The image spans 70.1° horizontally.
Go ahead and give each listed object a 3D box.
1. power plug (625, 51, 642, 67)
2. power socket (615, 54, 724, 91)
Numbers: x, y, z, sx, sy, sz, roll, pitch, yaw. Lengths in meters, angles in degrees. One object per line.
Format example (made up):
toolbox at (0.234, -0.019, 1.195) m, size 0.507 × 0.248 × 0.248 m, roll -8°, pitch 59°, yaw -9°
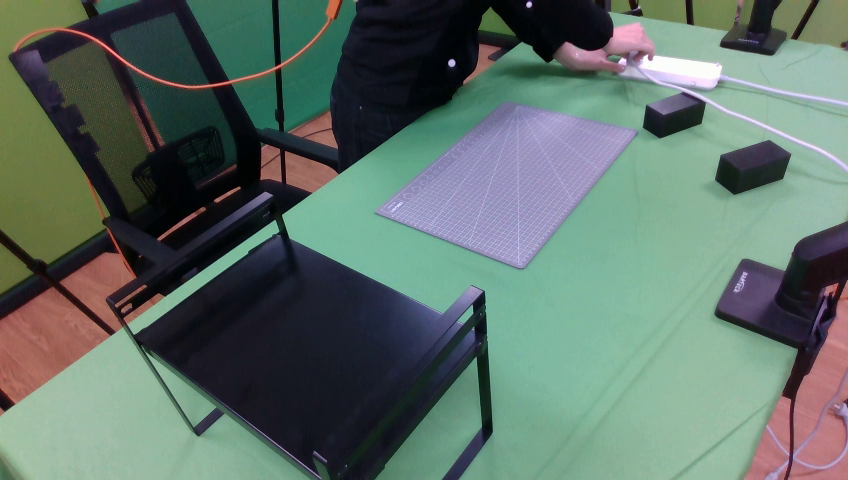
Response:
power plug at (0.449, -0.384, 1.321) m, size 0.035 × 0.053 × 0.073 m, roll 28°, pitch 55°, yaw 35°
power socket at (0.530, -0.367, 1.317) m, size 0.225 × 0.033 × 0.072 m, roll 19°, pitch 47°, yaw 27°
